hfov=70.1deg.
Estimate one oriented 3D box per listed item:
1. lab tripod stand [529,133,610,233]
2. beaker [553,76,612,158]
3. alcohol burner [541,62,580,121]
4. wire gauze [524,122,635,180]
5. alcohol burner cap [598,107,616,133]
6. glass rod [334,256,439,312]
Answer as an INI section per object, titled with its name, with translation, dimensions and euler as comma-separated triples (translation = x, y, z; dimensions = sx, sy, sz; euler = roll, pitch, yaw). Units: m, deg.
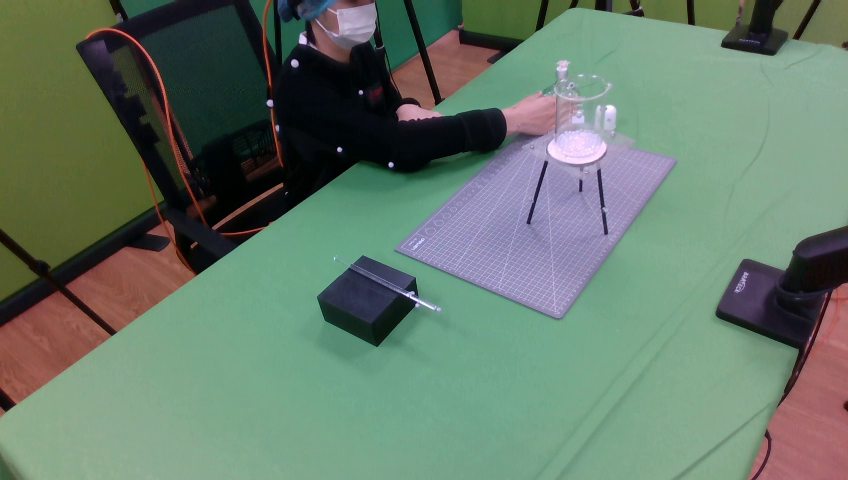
[lab tripod stand]
translation = 0.236, -0.089, 0.953
dimensions = 0.148, 0.132, 0.147
euler = -5, 42, 5
[beaker]
translation = 0.230, -0.178, 0.882
dimensions = 0.084, 0.101, 0.073
euler = -9, 41, 1
[alcohol burner]
translation = 0.276, -0.303, 1.223
dimensions = 0.078, 0.119, 0.077
euler = -4, 39, 4
[wire gauze]
translation = 0.233, -0.142, 0.914
dimensions = 0.122, 0.011, 0.124
euler = -31, 43, -26
[alcohol burner cap]
translation = 0.361, -0.239, 1.189
dimensions = 0.034, 0.048, 0.033
euler = -4, 40, 4
[glass rod]
translation = -0.058, 0.060, 0.850
dimensions = 0.198, 0.008, 0.008
euler = 24, 49, 33
